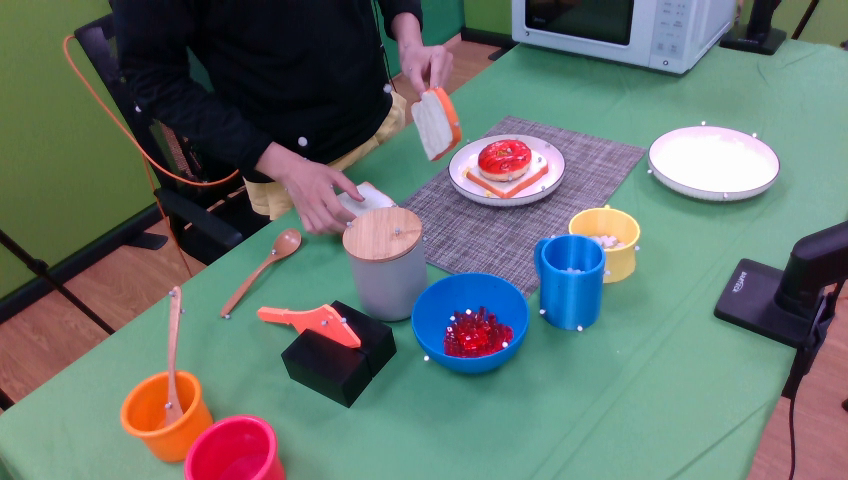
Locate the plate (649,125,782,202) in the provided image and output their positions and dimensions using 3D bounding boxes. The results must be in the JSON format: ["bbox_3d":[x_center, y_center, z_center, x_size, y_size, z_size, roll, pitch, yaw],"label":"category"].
[{"bbox_3d":[0.493,-0.127,1.036,0.207,0.039,0.206,-4,41,4],"label":"plate"}]

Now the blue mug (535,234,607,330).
[{"bbox_3d":[0.191,0.048,0.824,0.082,0.106,0.115,-26,44,-20],"label":"blue mug"}]

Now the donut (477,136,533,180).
[{"bbox_3d":[0.140,-0.145,1.058,0.099,0.048,0.098,-6,42,6],"label":"donut"}]

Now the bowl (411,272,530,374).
[{"bbox_3d":[0.061,0.120,0.780,0.151,0.077,0.150,-4,40,4],"label":"bowl"}]

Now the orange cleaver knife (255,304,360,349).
[{"bbox_3d":[-0.161,0.115,0.813,0.210,0.077,0.012,-4,32,47],"label":"orange cleaver knife"}]

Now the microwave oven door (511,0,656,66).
[{"bbox_3d":[0.351,-0.539,1.348,0.353,0.245,0.039,24,50,31],"label":"microwave oven door"}]

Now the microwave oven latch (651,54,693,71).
[{"bbox_3d":[0.531,-0.386,1.301,0.078,0.029,0.030,26,51,33],"label":"microwave oven latch"}]

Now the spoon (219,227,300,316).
[{"bbox_3d":[-0.260,0.046,0.954,0.041,0.021,0.194,27,48,11],"label":"spoon"}]

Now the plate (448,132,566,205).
[{"bbox_3d":[0.146,-0.124,1.075,0.209,0.038,0.208,-3,41,3],"label":"plate"}]

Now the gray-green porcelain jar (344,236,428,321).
[{"bbox_3d":[-0.049,0.042,0.849,0.106,0.127,0.105,-4,41,4],"label":"gray-green porcelain jar"}]

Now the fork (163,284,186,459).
[{"bbox_3d":[-0.302,0.157,0.733,0.028,0.019,0.207,-3,84,15],"label":"fork"}]

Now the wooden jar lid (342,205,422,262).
[{"bbox_3d":[-0.055,-0.005,0.808,0.108,0.021,0.108,-6,40,6],"label":"wooden jar lid"}]

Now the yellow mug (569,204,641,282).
[{"bbox_3d":[0.268,-0.005,0.904,0.099,0.064,0.130,7,41,15],"label":"yellow mug"}]

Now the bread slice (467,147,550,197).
[{"bbox_3d":[0.156,-0.128,1.084,0.132,0.019,0.104,-34,48,-24],"label":"bread slice"}]

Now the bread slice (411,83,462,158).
[{"bbox_3d":[0.021,-0.192,0.973,0.018,0.107,0.133,-25,7,-18],"label":"bread slice"}]

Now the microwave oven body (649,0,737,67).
[{"bbox_3d":[0.475,-0.602,1.411,0.438,0.261,0.327,23,50,32],"label":"microwave oven body"}]
